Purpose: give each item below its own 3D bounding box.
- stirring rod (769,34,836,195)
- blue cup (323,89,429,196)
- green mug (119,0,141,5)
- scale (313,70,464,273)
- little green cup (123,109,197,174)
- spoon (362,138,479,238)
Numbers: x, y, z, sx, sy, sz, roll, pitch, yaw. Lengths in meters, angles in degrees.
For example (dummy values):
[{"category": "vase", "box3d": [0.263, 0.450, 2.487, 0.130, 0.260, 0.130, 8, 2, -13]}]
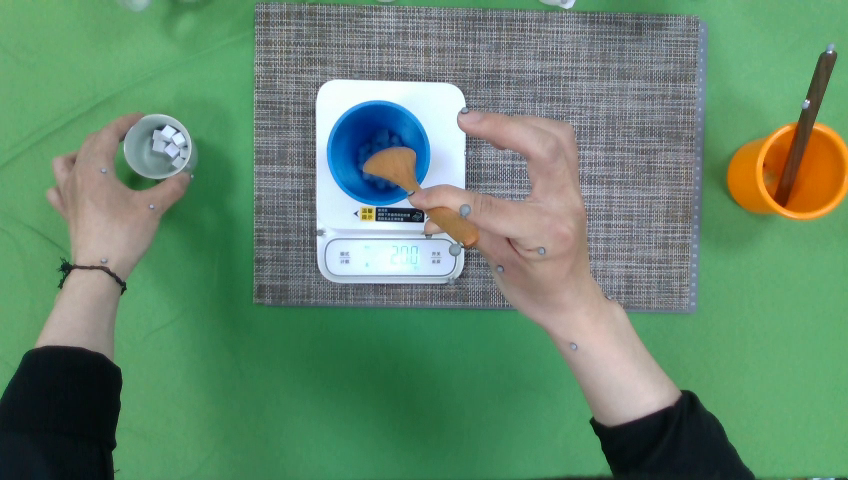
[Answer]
[{"category": "stirring rod", "box3d": [0.347, -0.108, 0.561, 0.014, 0.005, 0.178, -13, 136, 0]}, {"category": "blue cup", "box3d": [-0.039, -0.081, 0.535, 0.093, 0.100, 0.092, 0, 95, -1]}, {"category": "green mug", "box3d": [-0.243, -0.270, 0.550, 0.092, 0.105, 0.125, 36, 92, -3]}, {"category": "scale", "box3d": [-0.034, -0.066, 0.601, 0.149, 0.031, 0.201, 0, 94, -1]}, {"category": "little green cup", "box3d": [-0.249, -0.091, 0.580, 0.061, 0.038, 0.061, 0, 88, -3]}, {"category": "spoon", "box3d": [-0.003, -0.037, 0.384, 0.041, 0.191, 0.022, -23, 120, -10]}]
